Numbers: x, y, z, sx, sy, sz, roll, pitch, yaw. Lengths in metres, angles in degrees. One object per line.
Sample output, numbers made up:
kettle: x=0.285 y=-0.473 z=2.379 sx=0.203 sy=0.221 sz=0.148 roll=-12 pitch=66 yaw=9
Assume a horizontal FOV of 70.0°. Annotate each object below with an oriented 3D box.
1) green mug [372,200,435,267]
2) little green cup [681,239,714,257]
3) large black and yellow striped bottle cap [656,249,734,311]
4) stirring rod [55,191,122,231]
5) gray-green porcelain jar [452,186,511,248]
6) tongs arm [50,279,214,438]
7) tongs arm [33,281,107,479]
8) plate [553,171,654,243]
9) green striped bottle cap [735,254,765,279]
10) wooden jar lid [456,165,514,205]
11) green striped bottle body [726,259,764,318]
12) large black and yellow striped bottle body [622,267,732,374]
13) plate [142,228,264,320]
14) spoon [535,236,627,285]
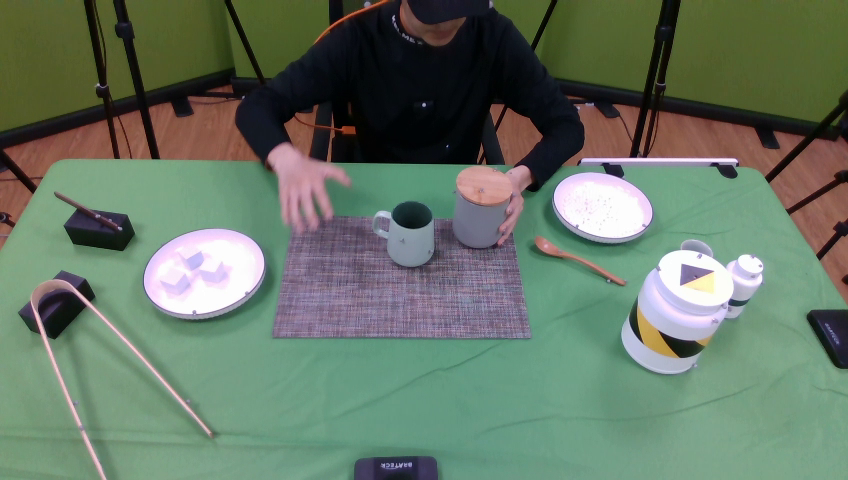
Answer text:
green mug: x=-0.040 y=-0.015 z=1.145 sx=0.125 sy=0.105 sz=0.092 roll=16 pitch=48 yaw=12
little green cup: x=0.530 y=0.033 z=1.189 sx=0.061 sy=0.039 sz=0.061 roll=2 pitch=47 yaw=-2
large black and yellow striped bottle cap: x=0.419 y=0.061 z=0.938 sx=0.115 sy=0.019 sz=0.114 roll=2 pitch=47 yaw=-2
stirring rod: x=-0.632 y=-0.055 z=1.139 sx=0.175 sy=0.014 sz=0.006 roll=24 pitch=51 yaw=19
gray-green porcelain jar: x=0.110 y=-0.056 z=1.179 sx=0.106 sy=0.127 sz=0.105 roll=2 pitch=46 yaw=-2
tongs arm: x=-0.459 y=0.178 z=0.949 sx=0.386 sy=0.028 sz=0.028 roll=37 pitch=60 yaw=17
tongs arm: x=-0.517 y=0.214 z=0.910 sx=0.051 sy=0.026 sz=0.383 roll=-29 pitch=63 yaw=-27
plate: x=0.373 y=-0.066 z=1.274 sx=0.209 sy=0.038 sz=0.208 roll=2 pitch=46 yaw=-2
green striped bottle cap: x=0.566 y=0.046 z=1.051 sx=0.044 sy=0.020 sz=0.044 roll=0 pitch=45 yaw=0
wooden jar lid: x=0.113 y=-0.099 z=1.134 sx=0.108 sy=0.021 sz=0.107 roll=5 pitch=45 yaw=-5
green striped bottle body: x=0.563 y=0.081 z=1.089 sx=0.063 sy=0.120 sz=0.063 roll=2 pitch=46 yaw=-2
large black and yellow striped bottle body: x=0.415 y=0.119 z=0.997 sx=0.131 sy=0.185 sz=0.130 roll=2 pitch=46 yaw=-2
plate: x=-0.394 y=0.064 z=1.095 sx=0.208 sy=0.039 sz=0.206 roll=2 pitch=46 yaw=-2
spoon: x=0.303 y=0.040 z=1.178 sx=0.193 sy=0.022 sz=0.041 roll=25 pitch=32 yaw=20
